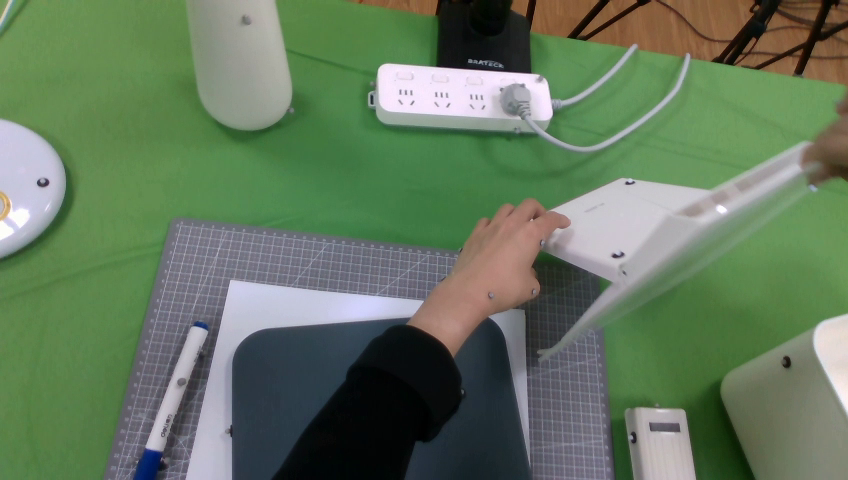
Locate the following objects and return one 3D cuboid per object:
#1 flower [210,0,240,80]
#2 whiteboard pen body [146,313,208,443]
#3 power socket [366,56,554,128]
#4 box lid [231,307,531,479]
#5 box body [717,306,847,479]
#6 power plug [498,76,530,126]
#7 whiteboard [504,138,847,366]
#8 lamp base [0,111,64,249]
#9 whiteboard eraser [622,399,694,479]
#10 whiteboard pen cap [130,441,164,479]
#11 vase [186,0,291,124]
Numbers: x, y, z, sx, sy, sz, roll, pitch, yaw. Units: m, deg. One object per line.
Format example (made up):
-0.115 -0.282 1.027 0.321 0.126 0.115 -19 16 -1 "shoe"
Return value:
-0.152 -0.228 0.522 0.044 0.361 0.038 -38 94 -32 "flower"
-0.218 0.131 0.527 0.017 0.017 0.140 14 65 -3 "whiteboard pen body"
0.046 -0.174 0.720 0.227 0.033 0.071 2 66 -11 "power socket"
-0.028 0.237 0.524 0.264 0.015 0.368 -3 67 -13 "box lid"
0.464 0.237 0.537 0.255 0.161 0.361 -10 68 -15 "box body"
0.101 -0.155 0.696 0.035 0.053 0.072 11 70 -5 "power plug"
0.201 -0.040 0.536 0.217 0.307 0.143 -23 69 -21 "whiteboard"
-0.429 -0.096 0.508 0.178 0.181 0.160 36 63 10 "lamp base"
0.220 0.208 0.571 0.056 0.042 0.112 5 64 -11 "whiteboard eraser"
-0.229 0.184 0.504 0.018 0.018 0.033 15 64 -3 "whiteboard pen cap"
-0.184 -0.204 0.595 0.098 0.201 0.097 4 64 -8 "vase"
